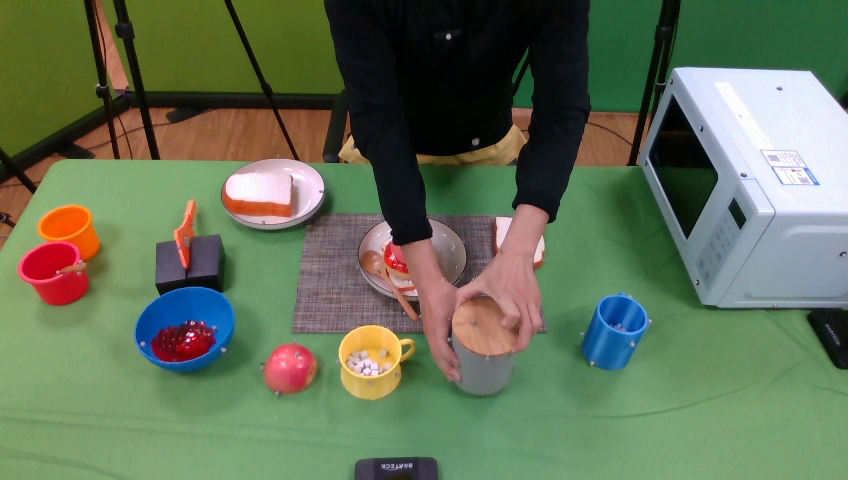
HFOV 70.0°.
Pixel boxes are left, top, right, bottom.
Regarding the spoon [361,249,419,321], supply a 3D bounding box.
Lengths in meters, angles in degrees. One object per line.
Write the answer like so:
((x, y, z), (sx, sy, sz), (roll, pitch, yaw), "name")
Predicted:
((-0.060, 0.079, 1.077), (0.041, 0.022, 0.192), (-21, 43, -21), "spoon")

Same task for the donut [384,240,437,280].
((-0.025, 0.029, 1.109), (0.099, 0.048, 0.098), (1, 48, -1), "donut")

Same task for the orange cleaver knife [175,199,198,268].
((-0.438, -0.017, 1.138), (0.012, 0.077, 0.210), (-13, 27, -7), "orange cleaver knife")

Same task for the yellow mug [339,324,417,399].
((-0.072, 0.190, 0.978), (0.131, 0.064, 0.099), (-17, 50, -20), "yellow mug")

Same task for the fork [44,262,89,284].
((-0.599, 0.054, 1.014), (0.207, 0.019, 0.028), (-15, 29, 45), "fork")

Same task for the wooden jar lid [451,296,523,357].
((0.094, 0.133, 0.915), (0.108, 0.021, 0.107), (3, 48, -3), "wooden jar lid")

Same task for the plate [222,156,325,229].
((-0.308, -0.095, 1.251), (0.209, 0.038, 0.208), (2, 47, -2), "plate")

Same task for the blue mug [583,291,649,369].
((0.324, 0.142, 1.023), (0.082, 0.106, 0.116), (15, 47, 11), "blue mug")

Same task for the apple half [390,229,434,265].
((-0.022, 0.003, 1.085), (0.081, 0.033, 0.081), (7, 46, -7), "apple half")

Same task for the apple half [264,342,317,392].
((-0.214, 0.198, 0.970), (0.074, 0.053, 0.080), (19, 48, 10), "apple half")

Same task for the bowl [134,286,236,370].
((-0.377, 0.155, 0.981), (0.151, 0.077, 0.150), (2, 46, -2), "bowl")

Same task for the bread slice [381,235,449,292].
((-0.027, 0.040, 1.141), (0.107, 0.018, 0.133), (-11, 49, -16), "bread slice")

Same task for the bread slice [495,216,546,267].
((0.194, 0.002, 1.204), (0.105, 0.019, 0.131), (5, 45, 2), "bread slice")

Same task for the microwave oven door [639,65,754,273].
((0.522, -0.147, 1.193), (0.039, 0.245, 0.353), (0, 47, -3), "microwave oven door")

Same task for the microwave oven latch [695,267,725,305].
((0.524, 0.082, 1.115), (0.030, 0.029, 0.078), (5, 46, 2), "microwave oven latch")

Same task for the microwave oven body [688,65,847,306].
((0.669, -0.111, 1.176), (0.326, 0.261, 0.439), (0, 46, -3), "microwave oven body")

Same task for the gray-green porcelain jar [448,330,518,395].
((0.092, 0.176, 0.960), (0.106, 0.127, 0.105), (1, 46, -1), "gray-green porcelain jar")

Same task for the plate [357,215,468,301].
((-0.021, 0.037, 1.141), (0.208, 0.039, 0.206), (2, 46, -2), "plate")
